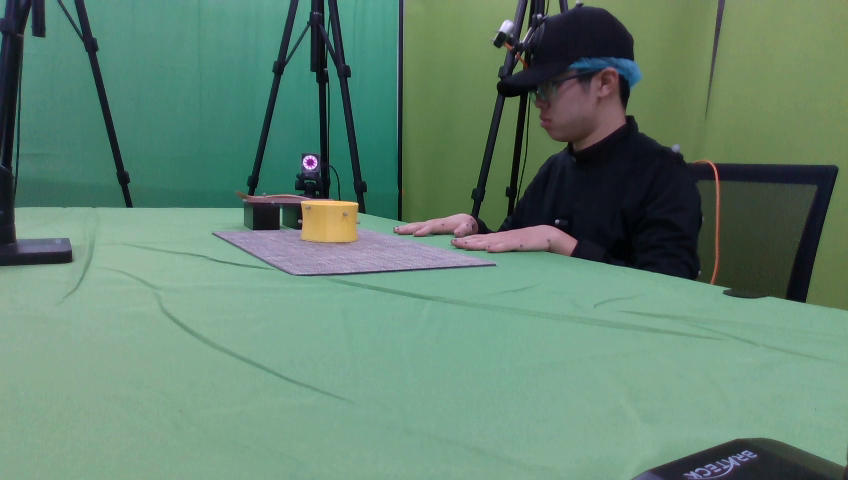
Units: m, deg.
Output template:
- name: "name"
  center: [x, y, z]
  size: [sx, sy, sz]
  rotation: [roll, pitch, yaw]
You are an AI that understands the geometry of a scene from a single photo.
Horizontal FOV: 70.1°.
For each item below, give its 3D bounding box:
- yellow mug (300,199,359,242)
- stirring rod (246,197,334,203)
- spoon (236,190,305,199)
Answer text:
- name: "yellow mug"
  center: [-0.157, -0.036, 1.060]
  size: [0.099, 0.064, 0.131]
  rotation: [6, 7, 27]
- name: "stirring rod"
  center: [-0.263, -0.079, 1.200]
  size: [0.177, 0.006, 0.014]
  rotation: [-2, 46, -29]
- name: "spoon"
  center: [-0.290, -0.088, 1.248]
  size: [0.195, 0.021, 0.041]
  rotation: [0, 6, -31]
